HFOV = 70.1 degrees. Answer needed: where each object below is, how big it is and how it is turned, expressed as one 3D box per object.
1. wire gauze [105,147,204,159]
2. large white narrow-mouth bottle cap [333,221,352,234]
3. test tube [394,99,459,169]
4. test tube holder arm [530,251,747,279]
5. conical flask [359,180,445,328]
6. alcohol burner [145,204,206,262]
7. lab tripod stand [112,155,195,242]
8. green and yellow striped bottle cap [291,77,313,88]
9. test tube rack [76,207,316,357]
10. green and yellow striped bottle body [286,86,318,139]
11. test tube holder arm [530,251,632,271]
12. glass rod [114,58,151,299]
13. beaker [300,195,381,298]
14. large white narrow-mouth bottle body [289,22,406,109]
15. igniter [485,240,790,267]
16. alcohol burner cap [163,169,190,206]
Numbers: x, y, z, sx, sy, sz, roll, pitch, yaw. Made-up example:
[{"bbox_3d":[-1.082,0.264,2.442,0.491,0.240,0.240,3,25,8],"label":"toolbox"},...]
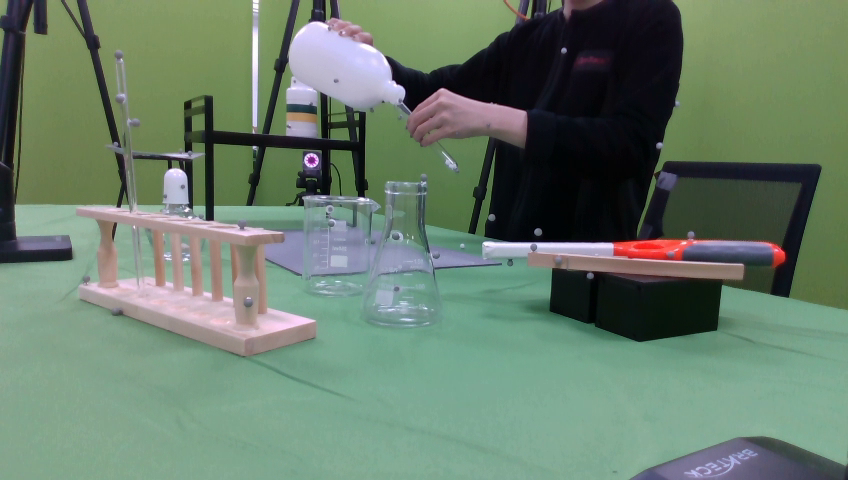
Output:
[{"bbox_3d":[-0.407,-0.131,0.929,0.125,0.011,0.121,2,6,-11],"label":"wire gauze"},{"bbox_3d":[-0.152,-0.024,1.134,0.038,0.024,0.037,4,7,0],"label":"large white narrow-mouth bottle cap"},{"bbox_3d":[0.004,-0.163,0.933,0.150,0.017,0.017,50,27,18],"label":"test tube"},{"bbox_3d":[0.182,0.022,0.523,0.178,0.015,0.013,3,7,12],"label":"test tube holder arm"},{"bbox_3d":[-0.017,0.010,0.522,0.075,0.122,0.075,2,7,0],"label":"conical flask"},{"bbox_3d":[-0.322,-0.032,0.788,0.078,0.119,0.078,0,7,0],"label":"alcohol burner"},{"bbox_3d":[-0.405,-0.064,0.931,0.148,0.131,0.148,1,6,0],"label":"lab tripod stand"},{"bbox_3d":[-0.250,-0.321,1.238,0.045,0.020,0.045,3,6,0],"label":"green and yellow striped bottle cap"},{"bbox_3d":[-0.196,0.023,0.500,0.241,0.085,0.067,8,8,36],"label":"test tube rack"},{"bbox_3d":[-0.251,-0.270,1.245,0.063,0.119,0.063,2,7,0],"label":"green and yellow striped bottle body"},{"bbox_3d":[0.139,0.019,0.538,0.087,0.015,0.010,3,7,13],"label":"test tube holder arm"},{"bbox_3d":[-0.236,-0.044,0.492,0.008,0.199,0.008,0,15,0],"label":"glass rod"},{"bbox_3d":[-0.087,0.006,0.626,0.084,0.100,0.074,1,8,-17],"label":"beaker"},{"bbox_3d":[-0.116,-0.271,0.981,0.194,0.101,0.102,30,16,15],"label":"large white narrow-mouth bottle body"},{"bbox_3d":[0.197,0.012,0.585,0.276,0.025,0.057,1,5,12],"label":"igniter"},{"bbox_3d":[-0.321,-0.068,0.782,0.034,0.048,0.034,1,7,0],"label":"alcohol burner cap"}]
